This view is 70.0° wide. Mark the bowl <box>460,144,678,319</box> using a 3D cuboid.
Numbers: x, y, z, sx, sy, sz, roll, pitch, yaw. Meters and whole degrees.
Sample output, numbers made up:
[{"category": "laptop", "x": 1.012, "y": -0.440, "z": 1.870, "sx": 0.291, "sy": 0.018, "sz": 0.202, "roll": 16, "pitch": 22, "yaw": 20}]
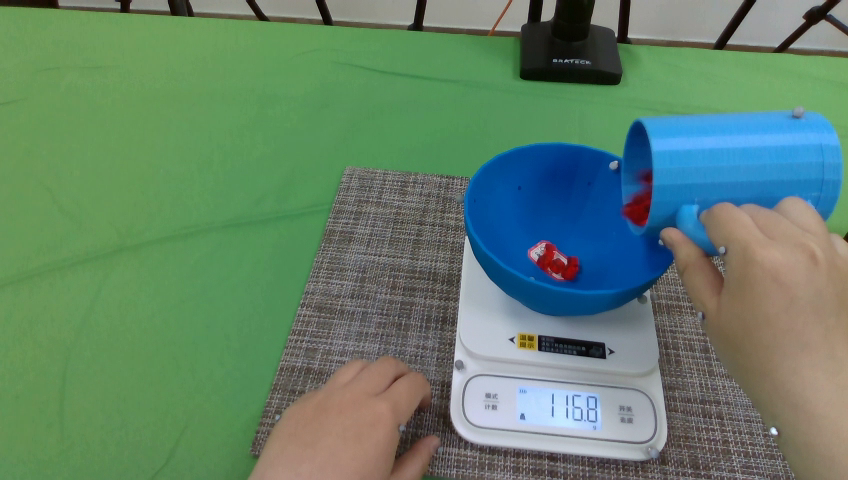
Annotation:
[{"category": "bowl", "x": 0.099, "y": 0.006, "z": 0.448, "sx": 0.151, "sy": 0.077, "sz": 0.150, "roll": 1, "pitch": 48, "yaw": -1}]

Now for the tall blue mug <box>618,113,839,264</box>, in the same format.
[{"category": "tall blue mug", "x": 0.187, "y": -0.036, "z": 0.374, "sx": 0.108, "sy": 0.078, "sz": 0.106, "roll": -1, "pitch": 15, "yaw": 3}]

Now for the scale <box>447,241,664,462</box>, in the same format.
[{"category": "scale", "x": 0.099, "y": 0.065, "z": 0.467, "sx": 0.148, "sy": 0.032, "sz": 0.199, "roll": 5, "pitch": 48, "yaw": 4}]
